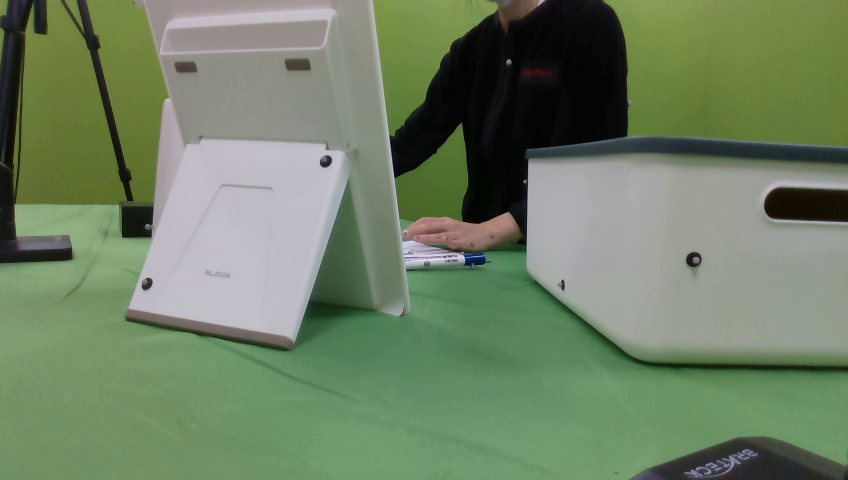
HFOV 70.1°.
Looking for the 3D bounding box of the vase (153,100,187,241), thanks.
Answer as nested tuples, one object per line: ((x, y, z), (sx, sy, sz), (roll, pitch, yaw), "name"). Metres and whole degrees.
((-0.278, -0.066, 0.736), (0.098, 0.200, 0.098), (2, 9, 0), "vase")

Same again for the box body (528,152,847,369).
((0.258, -0.005, 0.591), (0.254, 0.160, 0.363), (2, 7, -4), "box body")

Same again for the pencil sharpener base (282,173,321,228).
((-0.247, -0.080, 1.212), (0.061, 0.107, 0.076), (-2, 5, -28), "pencil sharpener base")

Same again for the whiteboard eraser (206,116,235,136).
((-0.450, -0.252, 1.335), (0.056, 0.042, 0.112), (1, 7, -22), "whiteboard eraser")

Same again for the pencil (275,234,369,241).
((-0.169, -0.006, 1.036), (0.195, 0.012, 0.012), (-2, 9, -45), "pencil")

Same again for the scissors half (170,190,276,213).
((-0.350, -0.068, 1.058), (0.176, 0.040, 0.013), (0, 3, -18), "scissors half")

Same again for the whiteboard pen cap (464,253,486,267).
((0.066, 0.027, 0.818), (0.033, 0.018, 0.018), (-5, 10, -24), "whiteboard pen cap")

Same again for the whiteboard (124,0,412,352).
((-0.151, -0.049, 0.472), (0.216, 0.305, 0.144), (6, 27, 24), "whiteboard")

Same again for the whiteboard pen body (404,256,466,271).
((0.013, 0.030, 0.792), (0.141, 0.017, 0.017), (-3, 9, -24), "whiteboard pen body")

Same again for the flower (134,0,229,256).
((-0.282, -0.146, 0.713), (0.038, 0.362, 0.044), (-23, 24, -31), "flower")

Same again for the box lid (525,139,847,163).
((0.261, -0.078, 0.580), (0.264, 0.015, 0.371), (2, 7, -4), "box lid")

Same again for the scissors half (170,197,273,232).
((-0.354, -0.049, 1.060), (0.176, 0.040, 0.012), (18, 3, -19), "scissors half")

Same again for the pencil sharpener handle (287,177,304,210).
((-0.269, -0.096, 1.257), (0.036, 0.067, 0.030), (-8, 8, -27), "pencil sharpener handle")
